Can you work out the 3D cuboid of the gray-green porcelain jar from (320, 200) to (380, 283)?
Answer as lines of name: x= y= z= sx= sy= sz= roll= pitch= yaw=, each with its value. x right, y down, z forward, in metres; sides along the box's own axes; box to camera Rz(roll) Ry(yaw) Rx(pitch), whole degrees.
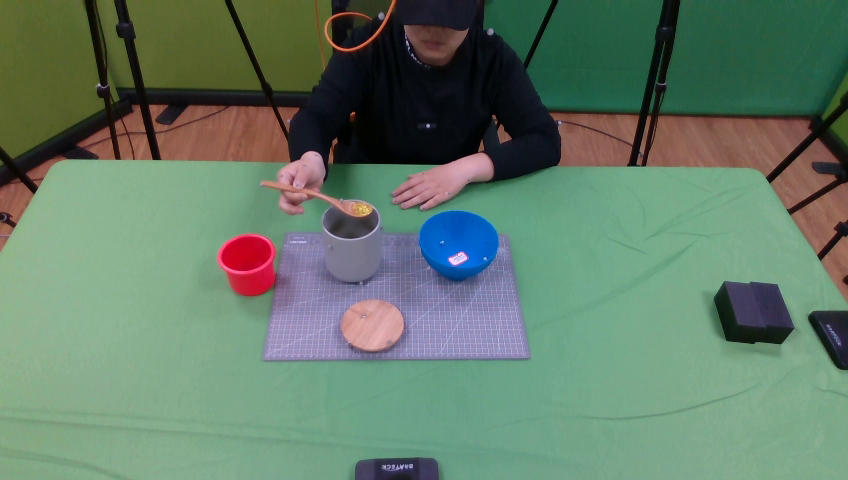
gray-green porcelain jar: x=-0.132 y=0.007 z=1.106 sx=0.106 sy=0.127 sz=0.105 roll=2 pitch=46 yaw=-2

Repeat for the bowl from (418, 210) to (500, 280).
bowl: x=0.062 y=0.022 z=1.140 sx=0.151 sy=0.077 sz=0.150 roll=2 pitch=46 yaw=-2

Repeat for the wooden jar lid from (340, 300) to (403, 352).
wooden jar lid: x=-0.090 y=0.150 z=1.046 sx=0.108 sy=0.021 sz=0.107 roll=3 pitch=47 yaw=-3

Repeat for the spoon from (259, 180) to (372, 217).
spoon: x=-0.182 y=-0.075 z=1.033 sx=0.194 sy=0.022 sz=0.041 roll=18 pitch=41 yaw=-16
